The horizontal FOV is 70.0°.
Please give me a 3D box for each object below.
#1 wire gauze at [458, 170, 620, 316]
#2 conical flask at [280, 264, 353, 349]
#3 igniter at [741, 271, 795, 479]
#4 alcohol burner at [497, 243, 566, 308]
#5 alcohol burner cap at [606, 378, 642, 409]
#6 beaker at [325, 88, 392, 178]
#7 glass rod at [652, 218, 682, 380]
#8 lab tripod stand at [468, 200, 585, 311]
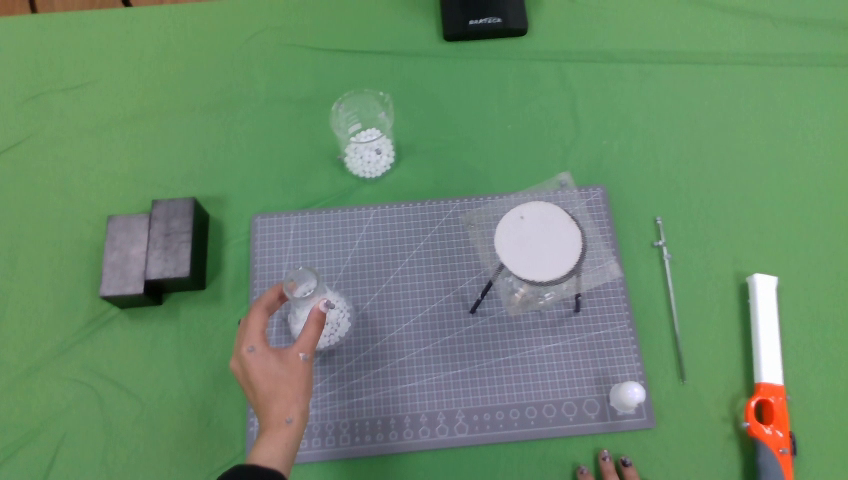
[{"bbox_3d":[0.113,0.001,0.604,0.125,0.011,0.120,-21,72,-6],"label":"wire gauze"},{"bbox_3d":[-0.119,0.065,0.639,0.075,0.123,0.075,0,66,1],"label":"conical flask"},{"bbox_3d":[0.379,0.168,0.673,0.057,0.025,0.275,10,70,-7],"label":"igniter"},{"bbox_3d":[0.122,0.034,0.674,0.078,0.120,0.077,1,69,-1],"label":"alcohol burner"},{"bbox_3d":[0.221,0.166,0.663,0.034,0.048,0.033,0,69,0],"label":"alcohol burner cap"},{"bbox_3d":[-0.075,-0.129,0.747,0.073,0.101,0.084,42,74,14],"label":"beaker"},{"bbox_3d":[0.288,0.066,0.721,0.008,0.008,0.198,0,69,0],"label":"glass rod"},{"bbox_3d":[0.115,0.027,0.667,0.148,0.132,0.147,0,71,1],"label":"lab tripod stand"}]
